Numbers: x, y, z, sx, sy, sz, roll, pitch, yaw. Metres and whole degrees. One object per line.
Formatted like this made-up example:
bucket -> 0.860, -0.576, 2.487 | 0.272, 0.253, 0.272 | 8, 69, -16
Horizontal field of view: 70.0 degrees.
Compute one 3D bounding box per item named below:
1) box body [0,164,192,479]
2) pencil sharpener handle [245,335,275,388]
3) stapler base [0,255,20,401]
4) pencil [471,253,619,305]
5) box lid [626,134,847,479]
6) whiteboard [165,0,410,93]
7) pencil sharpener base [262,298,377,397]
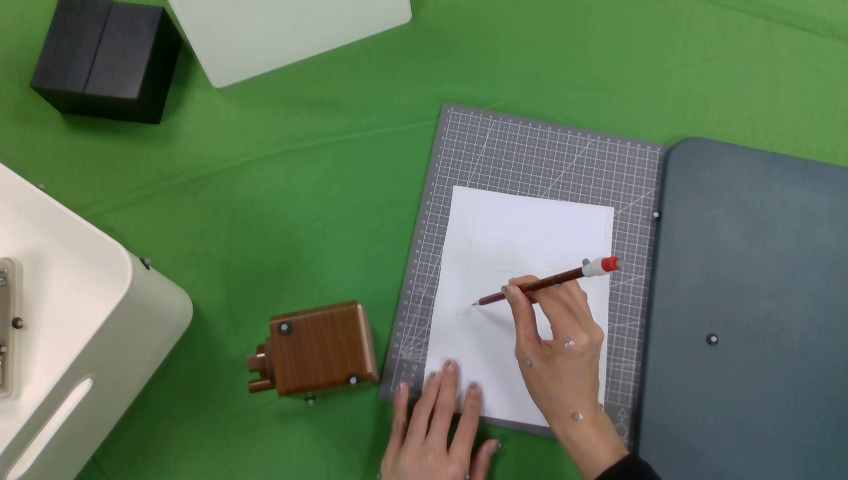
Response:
box body -> -0.404, 0.043, 0.468 | 0.363, 0.161, 0.253 | 32, 76, 6
pencil sharpener handle -> -0.132, 0.101, 0.477 | 0.031, 0.068, 0.035 | -10, 59, -4
stapler base -> -0.379, 0.075, 0.526 | 0.041, 0.024, 0.130 | -9, 77, -3
pencil -> 0.083, 0.036, 0.473 | 0.012, 0.194, 0.012 | 7, 73, -23
box lid -> 0.333, 0.086, 0.560 | 0.263, 0.015, 0.369 | 11, 75, 0
whiteboard -> -0.155, -0.324, 0.533 | 0.217, 0.308, 0.142 | -22, 57, -7
pencil sharpener base -> -0.083, 0.092, 0.495 | 0.077, 0.107, 0.061 | -10, 75, -4
